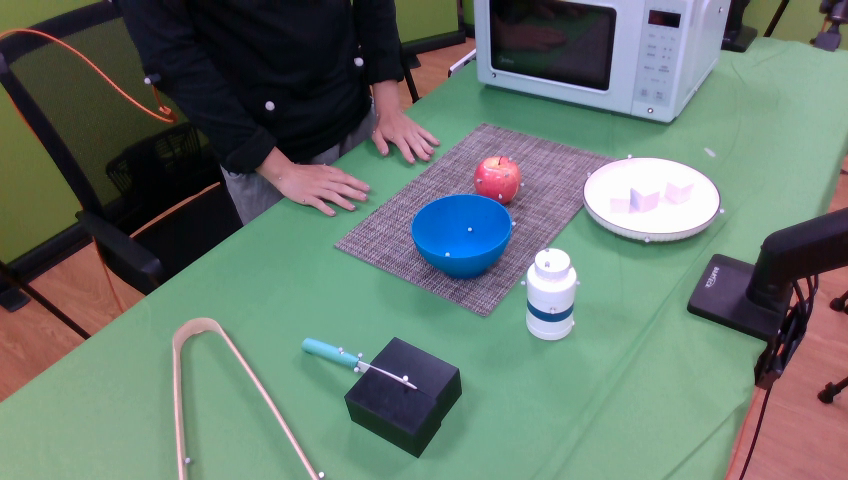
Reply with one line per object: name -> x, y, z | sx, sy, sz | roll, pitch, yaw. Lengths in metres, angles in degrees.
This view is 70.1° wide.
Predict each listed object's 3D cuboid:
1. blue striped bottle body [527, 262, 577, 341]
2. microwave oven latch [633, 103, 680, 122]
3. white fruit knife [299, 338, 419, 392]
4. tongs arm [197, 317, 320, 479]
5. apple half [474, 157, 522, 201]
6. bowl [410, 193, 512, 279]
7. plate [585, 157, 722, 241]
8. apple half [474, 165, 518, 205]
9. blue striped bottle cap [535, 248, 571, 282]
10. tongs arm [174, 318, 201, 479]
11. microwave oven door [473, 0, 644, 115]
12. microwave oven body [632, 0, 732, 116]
blue striped bottle body -> 0.165, 0.070, 0.786 | 0.063, 0.121, 0.063 | -4, 41, 4
microwave oven latch -> 0.444, -0.249, 1.157 | 0.078, 0.029, 0.030 | 20, 48, 30
white fruit knife -> -0.087, 0.156, 0.762 | 0.206, 0.027, 0.016 | 11, 44, 36
tongs arm -> -0.199, 0.207, 0.750 | 0.028, 0.028, 0.384 | -31, 45, -22
apple half -> 0.130, -0.107, 1.031 | 0.080, 0.075, 0.053 | 8, 38, 22
bowl -> 0.058, 0.005, 0.905 | 0.151, 0.077, 0.150 | -4, 40, 4
plate -> 0.367, -0.063, 0.979 | 0.207, 0.039, 0.206 | -4, 40, 4
apple half -> 0.115, -0.084, 1.005 | 0.081, 0.081, 0.033 | 11, 41, 20
blue striped bottle cap -> 0.161, 0.031, 0.753 | 0.044, 0.021, 0.044 | -4, 42, 4
tongs arm -> -0.272, 0.234, 0.723 | 0.051, 0.026, 0.381 | -19, 40, -15
microwave oven door -> 0.257, -0.396, 1.199 | 0.353, 0.245, 0.039 | 21, 48, 29
microwave oven body -> 0.377, -0.462, 1.267 | 0.438, 0.261, 0.327 | 21, 48, 30
